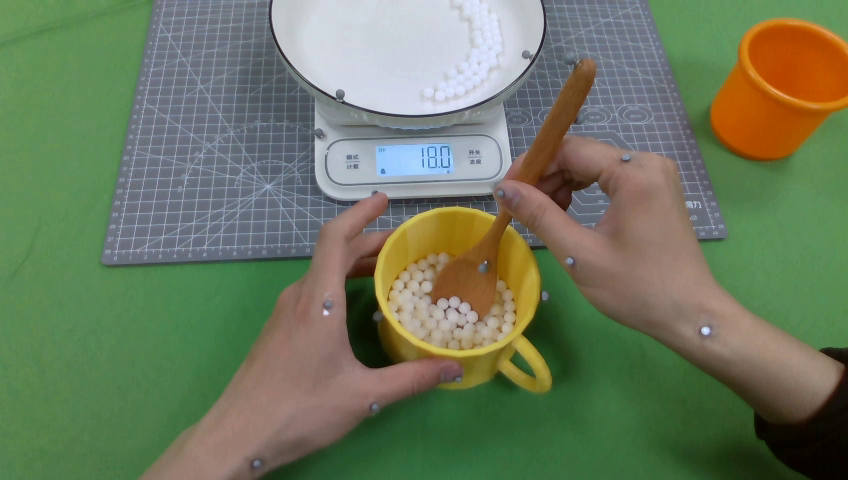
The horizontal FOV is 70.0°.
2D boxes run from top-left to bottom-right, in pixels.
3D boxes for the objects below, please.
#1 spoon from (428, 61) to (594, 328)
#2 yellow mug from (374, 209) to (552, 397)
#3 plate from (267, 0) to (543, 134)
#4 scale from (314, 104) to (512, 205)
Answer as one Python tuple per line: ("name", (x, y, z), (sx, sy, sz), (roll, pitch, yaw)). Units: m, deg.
("spoon", (0.047, -0.015, 0.348), (0.041, 0.195, 0.021), (34, 43, 10))
("yellow mug", (0.030, 0.049, 0.381), (0.100, 0.064, 0.130), (-41, 71, -20))
("plate", (-0.014, -0.162, 0.471), (0.209, 0.038, 0.207), (2, 62, -3))
("scale", (-0.013, -0.120, 0.486), (0.149, 0.032, 0.199), (-3, 62, -4))
